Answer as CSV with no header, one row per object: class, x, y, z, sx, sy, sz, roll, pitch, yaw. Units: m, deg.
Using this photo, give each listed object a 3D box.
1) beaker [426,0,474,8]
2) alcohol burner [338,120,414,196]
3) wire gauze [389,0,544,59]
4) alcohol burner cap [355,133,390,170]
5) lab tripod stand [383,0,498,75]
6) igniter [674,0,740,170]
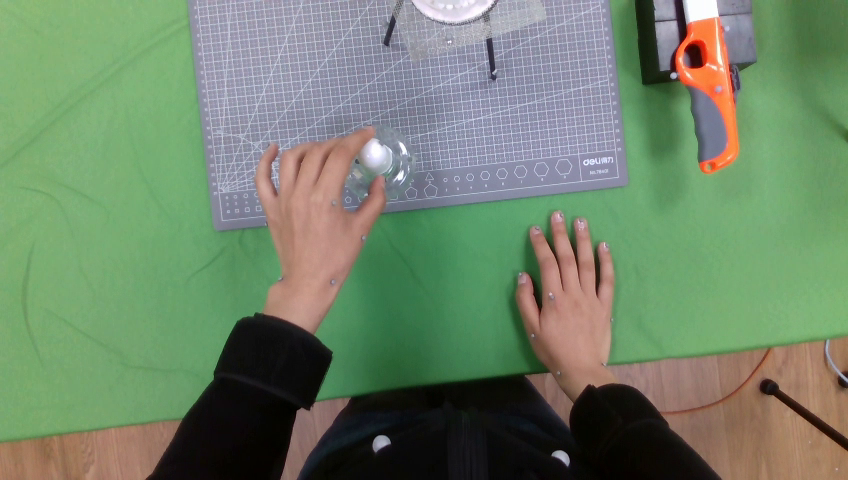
beaker,0.020,-0.233,0.474,0.084,0.100,0.074,-8,89,0
alcohol burner,-0.048,-0.083,0.598,0.078,0.119,0.078,0,91,-1
wire gauze,0.027,-0.230,0.522,0.125,0.011,0.121,-20,91,-2
alcohol burner cap,-0.050,-0.084,0.562,0.034,0.048,0.034,0,89,-1
lab tripod stand,0.026,-0.236,0.588,0.148,0.131,0.148,0,89,1
igniter,0.275,-0.208,0.600,0.057,0.025,0.276,-8,90,11
